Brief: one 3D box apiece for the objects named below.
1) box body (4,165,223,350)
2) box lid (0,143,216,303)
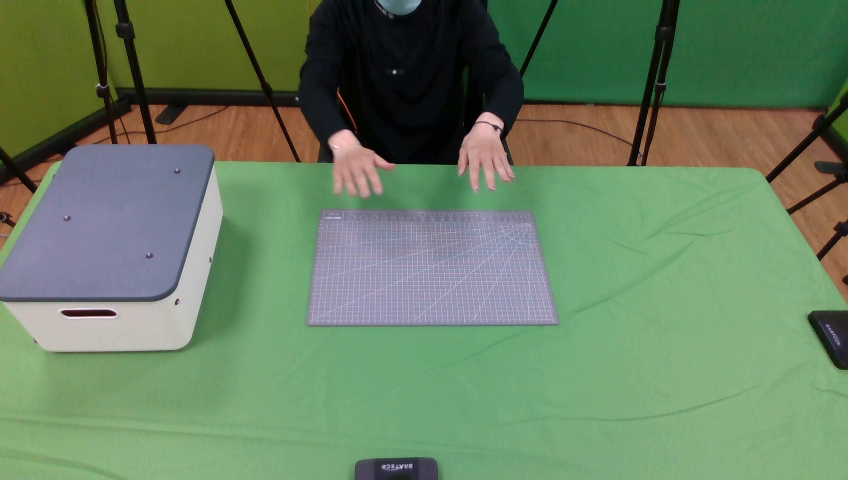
[{"bbox_3d":[-0.510,0.008,1.054,0.254,0.161,0.361,-1,46,-5],"label":"box body"},{"bbox_3d":[-0.506,-0.045,1.002,0.263,0.015,0.369,0,46,-5],"label":"box lid"}]
